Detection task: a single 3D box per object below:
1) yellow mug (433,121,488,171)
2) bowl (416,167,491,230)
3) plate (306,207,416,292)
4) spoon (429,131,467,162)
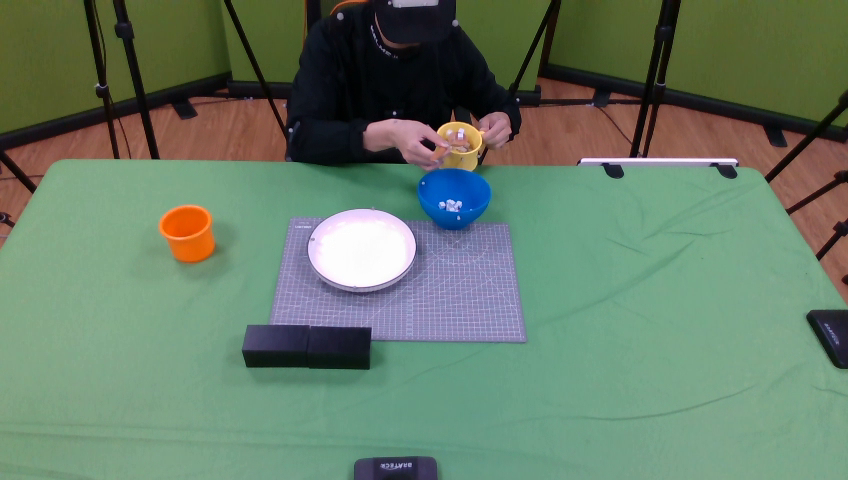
[{"bbox_3d":[0.084,-0.206,1.318,0.131,0.064,0.099,-22,58,-23],"label":"yellow mug"},{"bbox_3d":[0.057,-0.074,1.231,0.151,0.077,0.150,3,42,-2],"label":"bowl"},{"bbox_3d":[-0.119,0.021,1.153,0.209,0.038,0.208,2,46,-2],"label":"plate"},{"bbox_3d":[0.045,-0.190,1.221,0.041,0.022,0.193,26,27,10],"label":"spoon"}]
